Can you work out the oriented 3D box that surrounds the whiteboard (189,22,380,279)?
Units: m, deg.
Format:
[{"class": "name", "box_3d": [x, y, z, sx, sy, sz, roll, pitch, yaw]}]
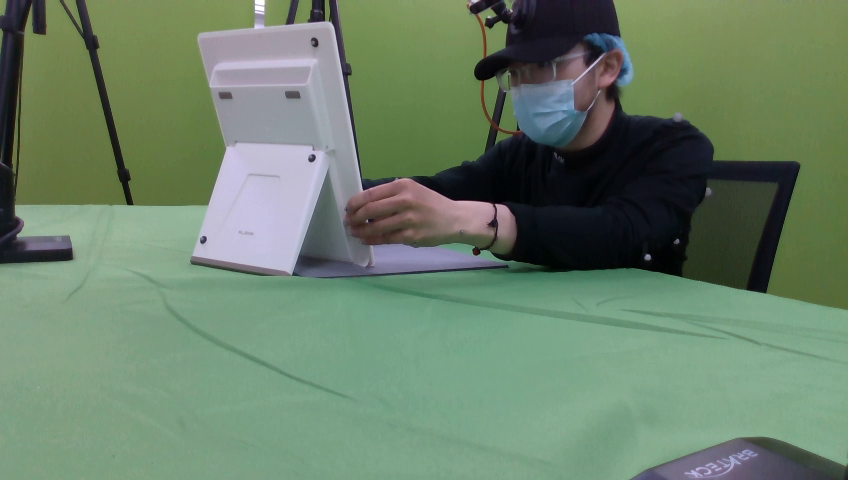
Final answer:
[{"class": "whiteboard", "box_3d": [-0.206, -0.086, 0.728, 0.216, 0.305, 0.144, 7, 30, 30]}]

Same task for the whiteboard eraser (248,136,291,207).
[{"class": "whiteboard eraser", "box_3d": [-0.221, -0.093, 0.857, 0.042, 0.055, 0.112, -35, -17, -22]}]
